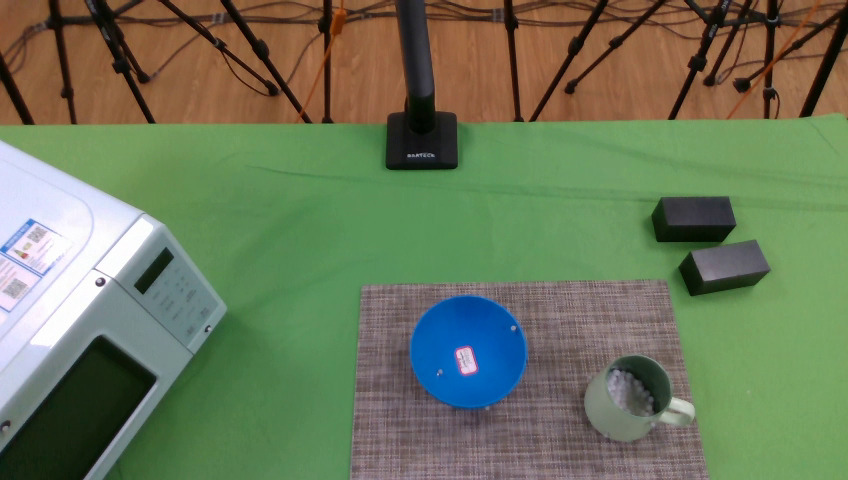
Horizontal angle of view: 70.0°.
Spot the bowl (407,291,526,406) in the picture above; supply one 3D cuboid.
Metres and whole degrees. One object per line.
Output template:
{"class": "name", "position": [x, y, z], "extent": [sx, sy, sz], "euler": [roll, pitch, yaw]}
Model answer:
{"class": "bowl", "position": [0.054, 0.152, 0.799], "extent": [0.151, 0.077, 0.150], "euler": [0, 61, 1]}

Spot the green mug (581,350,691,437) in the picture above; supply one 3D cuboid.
{"class": "green mug", "position": [0.266, 0.197, 0.756], "extent": [0.125, 0.106, 0.092], "euler": [16, 62, 10]}

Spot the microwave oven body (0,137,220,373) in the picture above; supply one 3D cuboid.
{"class": "microwave oven body", "position": [-0.523, 0.137, 0.710], "extent": [0.324, 0.262, 0.440], "euler": [25, 65, 13]}

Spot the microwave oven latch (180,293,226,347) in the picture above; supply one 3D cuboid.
{"class": "microwave oven latch", "position": [-0.307, 0.106, 0.835], "extent": [0.030, 0.030, 0.079], "euler": [26, 65, 14]}

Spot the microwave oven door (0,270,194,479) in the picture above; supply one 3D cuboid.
{"class": "microwave oven door", "position": [-0.413, 0.226, 0.655], "extent": [0.039, 0.246, 0.354], "euler": [24, 64, 14]}
